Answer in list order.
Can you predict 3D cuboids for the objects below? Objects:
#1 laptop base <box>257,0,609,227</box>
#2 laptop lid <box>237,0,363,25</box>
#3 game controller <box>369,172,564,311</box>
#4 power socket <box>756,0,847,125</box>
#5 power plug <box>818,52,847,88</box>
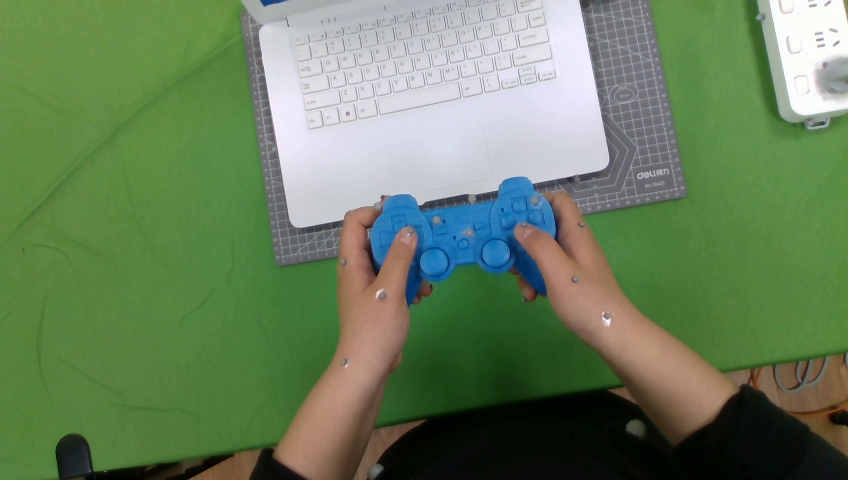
[{"bbox_3d":[0.003,-0.160,0.664,0.354,0.023,0.235,-11,88,6],"label":"laptop base"},{"bbox_3d":[-0.036,-0.302,0.559,0.356,0.243,0.013,-11,76,7],"label":"laptop lid"},{"bbox_3d":[0.031,0.002,0.482,0.155,0.051,0.097,-8,90,4],"label":"game controller"},{"bbox_3d":[0.384,-0.232,0.617,0.072,0.033,0.226,-9,85,7],"label":"power socket"},{"bbox_3d":[0.423,-0.165,0.589,0.072,0.053,0.035,3,86,3],"label":"power plug"}]
